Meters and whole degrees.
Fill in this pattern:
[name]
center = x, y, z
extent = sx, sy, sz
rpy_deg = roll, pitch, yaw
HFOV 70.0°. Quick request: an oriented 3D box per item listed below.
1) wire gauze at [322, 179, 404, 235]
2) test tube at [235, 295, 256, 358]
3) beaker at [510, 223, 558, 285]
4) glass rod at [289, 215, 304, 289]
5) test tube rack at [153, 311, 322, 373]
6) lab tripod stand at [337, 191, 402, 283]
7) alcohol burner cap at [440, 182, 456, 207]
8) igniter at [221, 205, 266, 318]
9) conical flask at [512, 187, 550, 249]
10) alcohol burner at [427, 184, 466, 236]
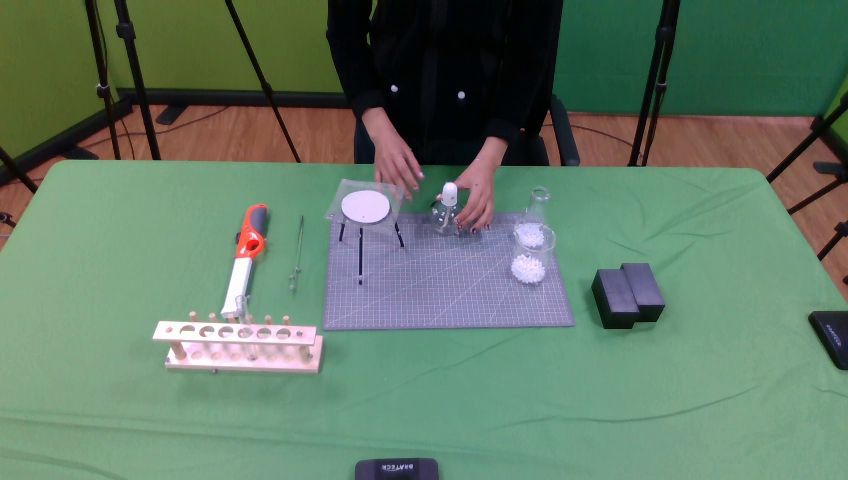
[wire gauze]
center = -0.106, -0.064, 1.078
extent = 0.125, 0.011, 0.121
rpy_deg = 11, 45, 5
[test tube]
center = -0.274, 0.136, 0.933
extent = 0.017, 0.151, 0.017
rpy_deg = 4, 45, -4
[beaker]
center = 0.199, 0.027, 1.132
extent = 0.083, 0.101, 0.074
rpy_deg = 26, 50, 21
[glass rod]
center = -0.246, 0.019, 1.171
extent = 0.008, 0.008, 0.198
rpy_deg = 0, 44, -3
[test tube rack]
center = -0.293, 0.160, 0.978
extent = 0.242, 0.085, 0.066
rpy_deg = 3, 46, -2
[lab tripod stand]
center = -0.106, -0.016, 1.125
extent = 0.148, 0.132, 0.147
rpy_deg = 3, 44, -2
[alcohol burner cap]
center = 0.048, -0.090, 1.174
extent = 0.034, 0.048, 0.033
rpy_deg = 1, 53, -1
[igniter]
center = -0.337, 0.030, 1.140
extent = 0.057, 0.025, 0.274
rpy_deg = -6, 46, 4
[conical flask]
center = 0.217, -0.048, 1.190
extent = 0.075, 0.122, 0.075
rpy_deg = 2, 46, -2
[alcohol burner]
center = 0.046, -0.066, 1.201
extent = 0.078, 0.119, 0.077
rpy_deg = 4, 44, -3
